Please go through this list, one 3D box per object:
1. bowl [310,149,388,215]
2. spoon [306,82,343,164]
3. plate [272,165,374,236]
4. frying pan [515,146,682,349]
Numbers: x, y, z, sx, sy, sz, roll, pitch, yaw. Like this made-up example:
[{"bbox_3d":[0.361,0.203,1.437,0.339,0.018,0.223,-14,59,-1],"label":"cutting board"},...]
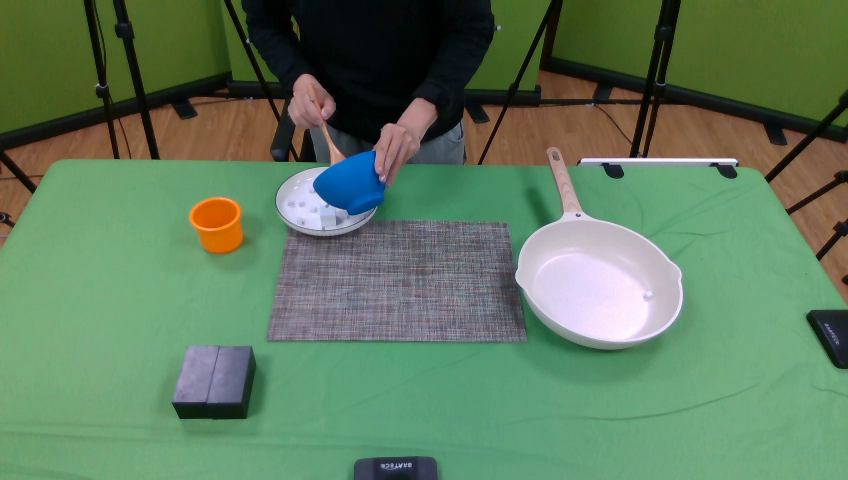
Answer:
[{"bbox_3d":[-0.126,-0.097,1.121,0.151,0.151,0.076,-22,80,-23],"label":"bowl"},{"bbox_3d":[-0.185,-0.200,1.133,0.041,0.194,0.021,-25,9,-28],"label":"spoon"},{"bbox_3d":[-0.204,-0.076,1.240,0.208,0.039,0.206,3,44,-2],"label":"plate"},{"bbox_3d":[0.303,-0.004,1.168,0.307,0.103,0.484,-2,55,-7],"label":"frying pan"}]
